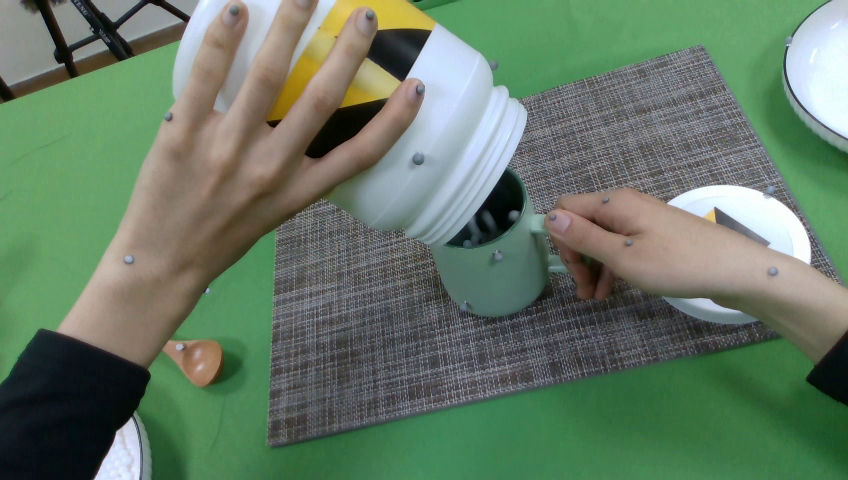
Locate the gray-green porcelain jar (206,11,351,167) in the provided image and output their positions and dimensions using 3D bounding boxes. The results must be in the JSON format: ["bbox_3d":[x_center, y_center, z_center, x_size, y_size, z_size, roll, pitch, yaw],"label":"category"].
[{"bbox_3d":[-0.140,-0.146,0.617,0.105,0.128,0.105,-10,52,13],"label":"gray-green porcelain jar"}]

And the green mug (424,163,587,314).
[{"bbox_3d":[0.061,-0.001,0.466,0.125,0.106,0.092,3,59,20],"label":"green mug"}]

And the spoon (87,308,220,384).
[{"bbox_3d":[-0.259,0.091,0.570,0.192,0.022,0.041,15,78,26],"label":"spoon"}]

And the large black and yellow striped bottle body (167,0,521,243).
[{"bbox_3d":[-0.044,-0.089,0.379,0.185,0.130,0.130,32,66,-12],"label":"large black and yellow striped bottle body"}]

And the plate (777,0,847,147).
[{"bbox_3d":[0.399,-0.139,0.487,0.207,0.039,0.205,-9,56,14],"label":"plate"}]

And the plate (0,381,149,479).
[{"bbox_3d":[-0.314,0.220,0.496,0.209,0.038,0.207,-8,56,13],"label":"plate"}]

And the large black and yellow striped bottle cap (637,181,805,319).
[{"bbox_3d":[0.224,0.005,0.462,0.115,0.019,0.114,-10,55,14],"label":"large black and yellow striped bottle cap"}]

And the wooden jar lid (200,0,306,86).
[{"bbox_3d":[-0.158,-0.183,0.569,0.108,0.021,0.107,-11,54,16],"label":"wooden jar lid"}]
